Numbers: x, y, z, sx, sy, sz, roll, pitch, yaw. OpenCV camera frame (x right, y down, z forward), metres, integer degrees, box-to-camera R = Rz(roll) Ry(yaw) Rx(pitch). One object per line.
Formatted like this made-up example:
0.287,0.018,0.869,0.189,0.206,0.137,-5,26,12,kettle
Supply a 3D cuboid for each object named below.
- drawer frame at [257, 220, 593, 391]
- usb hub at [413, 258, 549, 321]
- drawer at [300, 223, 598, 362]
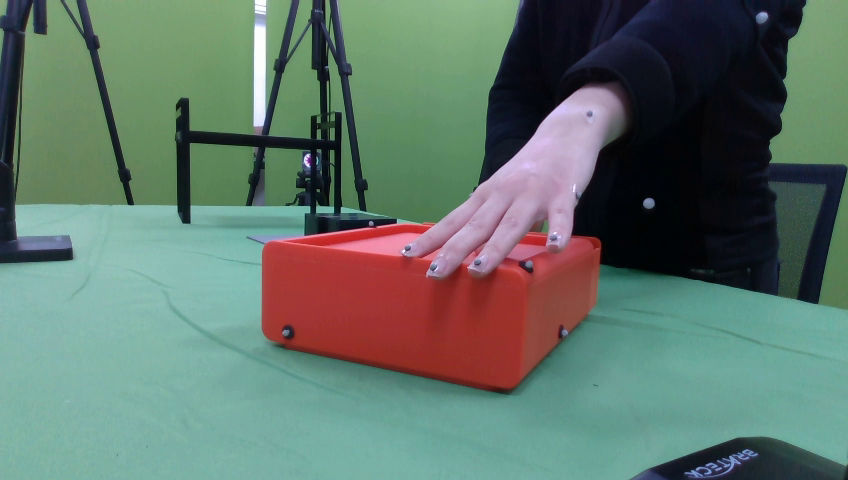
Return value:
0.014,0.036,0.491,0.201,0.082,0.214,6,9,25,drawer frame
0.051,0.044,0.567,0.124,0.025,0.050,16,14,40,usb hub
0.032,0.033,0.528,0.194,0.073,0.212,7,9,26,drawer
